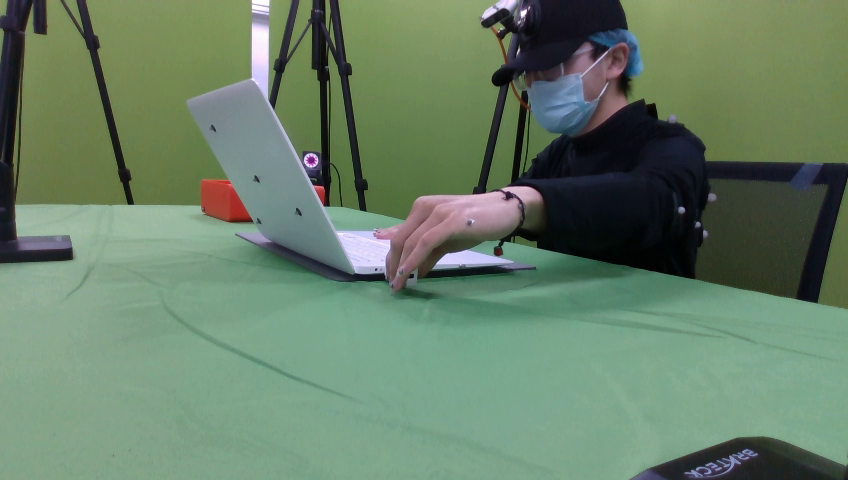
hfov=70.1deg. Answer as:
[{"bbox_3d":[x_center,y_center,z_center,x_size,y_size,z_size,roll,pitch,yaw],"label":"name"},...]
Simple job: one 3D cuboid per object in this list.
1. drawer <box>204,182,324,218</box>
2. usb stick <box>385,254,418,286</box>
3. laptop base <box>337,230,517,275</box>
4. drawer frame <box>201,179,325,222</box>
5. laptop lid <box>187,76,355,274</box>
[{"bbox_3d":[-0.360,-0.092,1.358,0.213,0.073,0.193,-3,10,-36],"label":"drawer"},{"bbox_3d":[-0.028,0.031,0.668,0.021,0.027,0.059,-2,10,-26],"label":"usb stick"},{"bbox_3d":[-0.065,0.014,0.877,0.237,0.023,0.352,2,7,-32],"label":"laptop base"},{"bbox_3d":[-0.361,-0.092,1.356,0.215,0.082,0.200,-4,10,-37],"label":"drawer frame"},{"bbox_3d":[-0.210,-0.082,0.772,0.013,0.242,0.355,-34,25,-23],"label":"laptop lid"}]
